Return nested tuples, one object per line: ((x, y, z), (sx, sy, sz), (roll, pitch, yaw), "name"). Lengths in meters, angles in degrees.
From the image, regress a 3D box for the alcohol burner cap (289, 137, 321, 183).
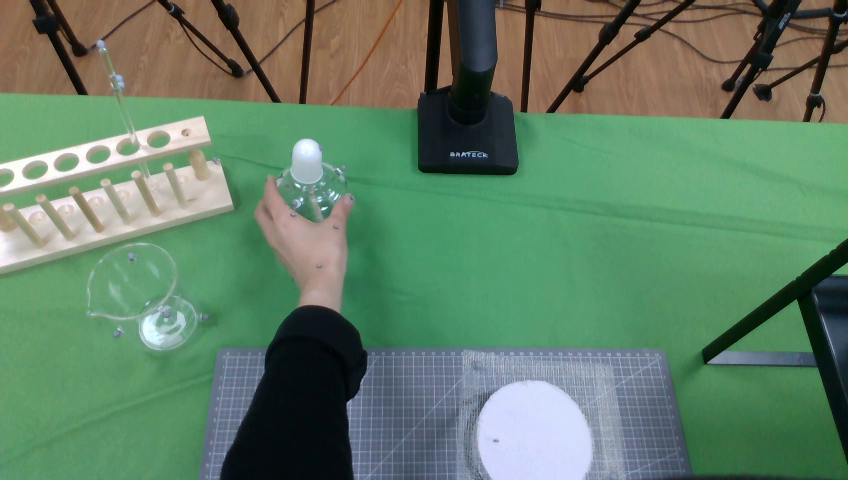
((-0.117, -0.082, 0.602), (0.034, 0.048, 0.033), (7, 59, -11), "alcohol burner cap")

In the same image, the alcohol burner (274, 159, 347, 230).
((-0.120, -0.063, 0.633), (0.078, 0.120, 0.077), (2, 59, -4), "alcohol burner")

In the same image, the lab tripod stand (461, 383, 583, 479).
((0.073, 0.180, 0.500), (0.148, 0.132, 0.147), (3, 59, -4), "lab tripod stand")

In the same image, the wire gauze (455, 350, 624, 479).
((0.084, 0.143, 0.443), (0.121, 0.011, 0.124), (6, 61, -3), "wire gauze")

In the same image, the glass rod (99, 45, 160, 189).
((-0.280, -0.109, 0.585), (0.008, 0.201, 0.008), (4, 59, -7), "glass rod")

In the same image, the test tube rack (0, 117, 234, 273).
((-0.332, -0.047, 0.623), (0.243, 0.086, 0.066), (-17, 64, -14), "test tube rack")

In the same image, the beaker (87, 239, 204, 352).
((-0.254, 0.058, 0.563), (0.084, 0.101, 0.073), (-39, 70, -22), "beaker")
